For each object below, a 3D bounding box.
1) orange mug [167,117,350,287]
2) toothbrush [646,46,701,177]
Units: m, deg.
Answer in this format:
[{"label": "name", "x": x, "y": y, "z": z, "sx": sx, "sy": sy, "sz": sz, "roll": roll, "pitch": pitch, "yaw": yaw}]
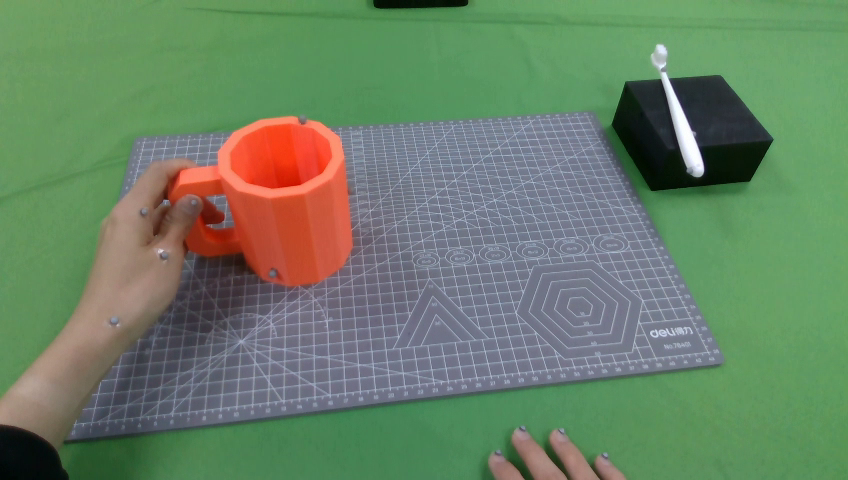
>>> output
[{"label": "orange mug", "x": -0.119, "y": -0.026, "z": 0.451, "sx": 0.126, "sy": 0.101, "sz": 0.082, "roll": -7, "pitch": 50, "yaw": -14}, {"label": "toothbrush", "x": 0.224, "y": -0.122, "z": 0.546, "sx": 0.014, "sy": 0.017, "sz": 0.180, "roll": 6, "pitch": 49, "yaw": -1}]
